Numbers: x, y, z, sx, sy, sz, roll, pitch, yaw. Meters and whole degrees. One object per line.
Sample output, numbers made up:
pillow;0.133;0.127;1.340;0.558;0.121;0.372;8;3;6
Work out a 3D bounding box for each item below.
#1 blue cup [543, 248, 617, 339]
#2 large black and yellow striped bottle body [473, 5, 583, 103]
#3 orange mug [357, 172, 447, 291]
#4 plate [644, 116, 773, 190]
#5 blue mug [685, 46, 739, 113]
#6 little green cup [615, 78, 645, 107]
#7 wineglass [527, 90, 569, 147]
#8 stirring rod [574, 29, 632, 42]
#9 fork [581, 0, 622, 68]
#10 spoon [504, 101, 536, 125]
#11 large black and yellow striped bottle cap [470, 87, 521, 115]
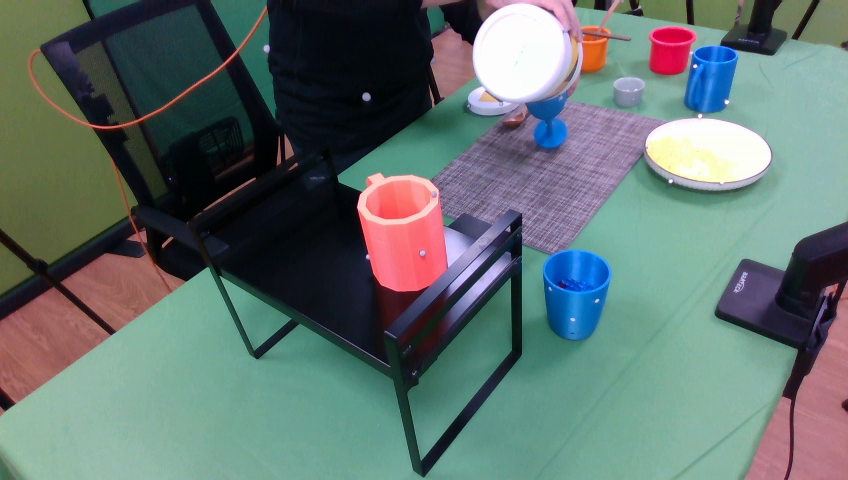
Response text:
blue cup;0.199;0.076;0.797;0.092;0.100;0.092;-4;39;4
large black and yellow striped bottle body;0.163;-0.274;0.905;0.130;0.131;0.185;12;18;22
orange mug;-0.030;-0.018;0.669;0.084;0.101;0.125;-23;47;-16
plate;0.495;-0.149;1.063;0.209;0.038;0.208;-5;40;4
blue mug;0.556;-0.310;1.190;0.117;0.106;0.081;-32;46;-25
little green cup;0.426;-0.306;1.257;0.061;0.039;0.061;-4;40;4
wineglass;0.222;-0.235;1.079;0.073;0.173;0.073;-5;70;14
stirring rod;0.381;-0.463;1.356;0.175;0.006;0.014;22;47;30
fork;0.409;-0.484;1.381;0.028;0.019;0.207;37;101;45
spoon;0.227;-0.285;1.269;0.041;0.022;0.194;2;36;45
large black and yellow striped bottle cap;0.156;-0.308;1.316;0.115;0.019;0.114;-7;39;6
